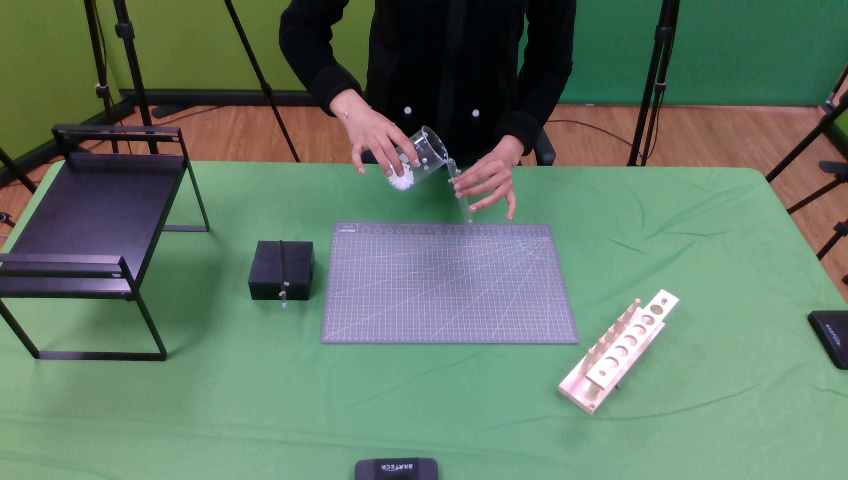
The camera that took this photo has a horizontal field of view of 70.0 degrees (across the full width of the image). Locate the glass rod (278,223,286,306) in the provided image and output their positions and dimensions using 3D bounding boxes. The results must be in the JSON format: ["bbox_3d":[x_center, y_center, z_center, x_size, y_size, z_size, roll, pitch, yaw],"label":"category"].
[{"bbox_3d":[-0.254,0.039,1.081,0.008,0.008,0.198,-6,47,-10],"label":"glass rod"}]

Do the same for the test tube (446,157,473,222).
[{"bbox_3d":[0.066,-0.087,1.087,0.017,0.151,0.017,-12,44,12],"label":"test tube"}]

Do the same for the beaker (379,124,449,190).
[{"bbox_3d":[-0.017,-0.136,1.026,0.100,0.084,0.073,-32,43,22],"label":"beaker"}]

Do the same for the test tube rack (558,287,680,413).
[{"bbox_3d":[0.326,0.170,1.009,0.066,0.085,0.242,36,54,26],"label":"test tube rack"}]
